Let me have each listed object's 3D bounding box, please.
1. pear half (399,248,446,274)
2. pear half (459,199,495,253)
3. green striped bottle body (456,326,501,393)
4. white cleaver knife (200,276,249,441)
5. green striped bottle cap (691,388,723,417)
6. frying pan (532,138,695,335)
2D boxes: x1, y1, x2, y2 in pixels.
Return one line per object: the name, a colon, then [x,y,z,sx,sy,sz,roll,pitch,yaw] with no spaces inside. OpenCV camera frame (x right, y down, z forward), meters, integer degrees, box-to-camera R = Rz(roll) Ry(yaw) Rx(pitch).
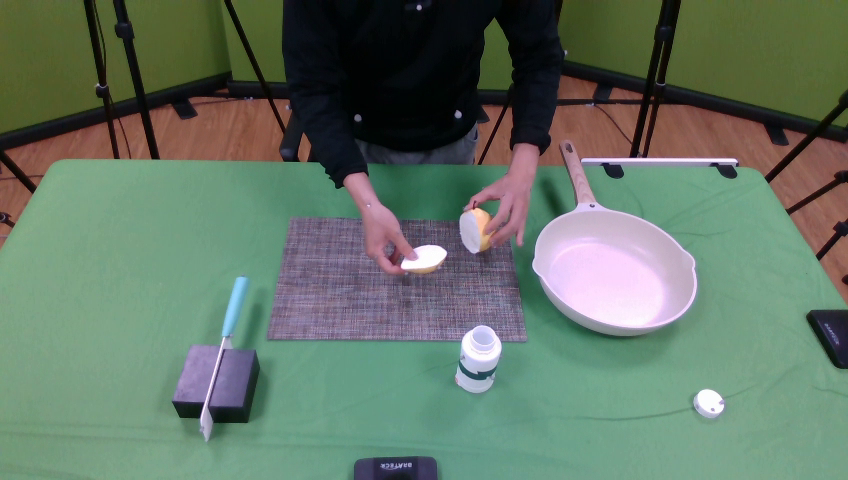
pear half: [-0.003,0.042,1.063,0.088,0.031,0.070,-27,26,-27]
pear half: [0.100,-0.034,1.102,0.056,0.110,0.076,-27,50,-23]
green striped bottle body: [0.086,0.185,0.959,0.063,0.120,0.063,2,46,-2]
white cleaver knife: [-0.321,0.177,0.972,0.021,0.066,0.284,7,48,-5]
green striped bottle cap: [0.460,0.263,0.984,0.044,0.020,0.044,3,46,-3]
frying pan: [0.336,-0.024,1.190,0.307,0.103,0.484,-2,55,-7]
